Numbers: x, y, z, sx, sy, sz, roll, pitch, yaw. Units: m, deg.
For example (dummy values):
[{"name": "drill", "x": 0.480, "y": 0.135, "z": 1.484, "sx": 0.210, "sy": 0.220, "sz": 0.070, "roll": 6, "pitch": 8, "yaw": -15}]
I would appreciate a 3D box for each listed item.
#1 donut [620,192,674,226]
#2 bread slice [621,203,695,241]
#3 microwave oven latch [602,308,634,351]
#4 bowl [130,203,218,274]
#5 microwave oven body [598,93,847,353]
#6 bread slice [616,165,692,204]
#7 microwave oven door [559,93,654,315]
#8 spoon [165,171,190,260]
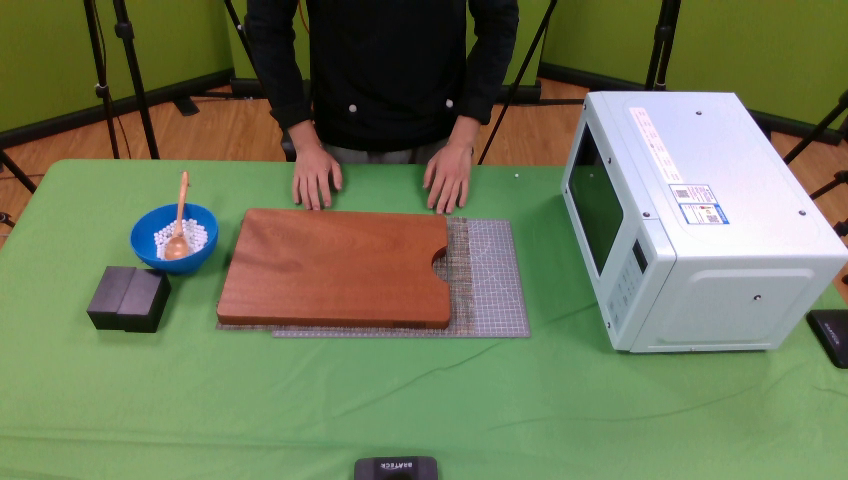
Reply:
[{"name": "donut", "x": 0.432, "y": -0.061, "z": 1.175, "sx": 0.099, "sy": 0.048, "sz": 0.098, "roll": -7, "pitch": 26, "yaw": 4}, {"name": "bread slice", "x": 0.465, "y": -0.039, "z": 1.202, "sx": 0.131, "sy": 0.019, "sz": 0.104, "roll": -4, "pitch": 36, "yaw": 8}, {"name": "microwave oven latch", "x": 0.332, "y": 0.153, "z": 1.044, "sx": 0.030, "sy": 0.029, "sz": 0.078, "roll": -1, "pitch": 45, "yaw": -4}, {"name": "bowl", "x": -0.450, "y": 0.010, "z": 1.117, "sx": 0.151, "sy": 0.077, "sz": 0.150, "roll": 3, "pitch": 45, "yaw": -3}, {"name": "microwave oven body", "x": 0.475, "y": -0.041, "z": 1.110, "sx": 0.326, "sy": 0.261, "sz": 0.438, "roll": -1, "pitch": 45, "yaw": -4}, {"name": "bread slice", "x": 0.440, "y": -0.105, "z": 1.151, "sx": 0.135, "sy": 0.018, "sz": 0.106, "roll": -2, "pitch": 41, "yaw": -25}, {"name": "microwave oven door", "x": 0.327, "y": -0.074, "z": 1.123, "sx": 0.039, "sy": 0.245, "sz": 0.353, "roll": -1, "pitch": 46, "yaw": -5}, {"name": "spoon", "x": -0.452, "y": -0.046, "z": 1.129, "sx": 0.041, "sy": 0.022, "sz": 0.193, "roll": -1, "pitch": 69, "yaw": -2}]
